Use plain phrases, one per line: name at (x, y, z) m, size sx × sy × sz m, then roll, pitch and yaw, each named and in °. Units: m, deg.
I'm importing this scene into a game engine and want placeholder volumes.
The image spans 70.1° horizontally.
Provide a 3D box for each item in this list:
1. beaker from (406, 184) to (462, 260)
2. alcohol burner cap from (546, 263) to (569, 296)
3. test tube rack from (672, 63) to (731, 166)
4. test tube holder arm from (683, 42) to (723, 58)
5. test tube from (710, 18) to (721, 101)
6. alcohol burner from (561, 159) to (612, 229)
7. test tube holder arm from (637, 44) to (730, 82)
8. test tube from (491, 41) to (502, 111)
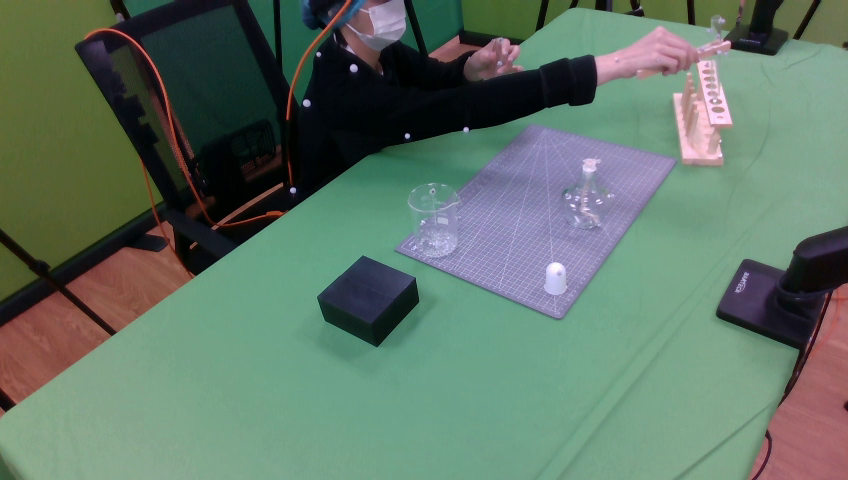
beaker at (0.020, -0.026, 0.939) m, size 0.084 × 0.101 × 0.074 m, roll 1°, pitch 41°, yaw 10°
alcohol burner cap at (0.191, 0.053, 0.862) m, size 0.034 × 0.048 × 0.033 m, roll -5°, pitch 40°, yaw 4°
test tube rack at (0.513, -0.240, 1.132) m, size 0.066 × 0.085 × 0.242 m, roll 4°, pitch 41°, yaw 14°
test tube holder arm at (0.462, -0.309, 1.002) m, size 0.088 × 0.015 × 0.010 m, roll -26°, pitch 37°, yaw -20°
test tube at (0.491, -0.300, 1.019) m, size 0.017 × 0.151 × 0.017 m, roll -13°, pitch 40°, yaw 11°
alcohol burner at (0.257, -0.077, 0.951) m, size 0.078 × 0.119 × 0.077 m, roll -3°, pitch 40°, yaw 3°
test tube holder arm at (0.424, -0.290, 0.985) m, size 0.179 × 0.015 × 0.013 m, roll -21°, pitch 35°, yaw -14°
test tube at (0.142, -0.319, 1.187) m, size 0.017 × 0.151 × 0.017 m, roll -1°, pitch 46°, yaw 2°
